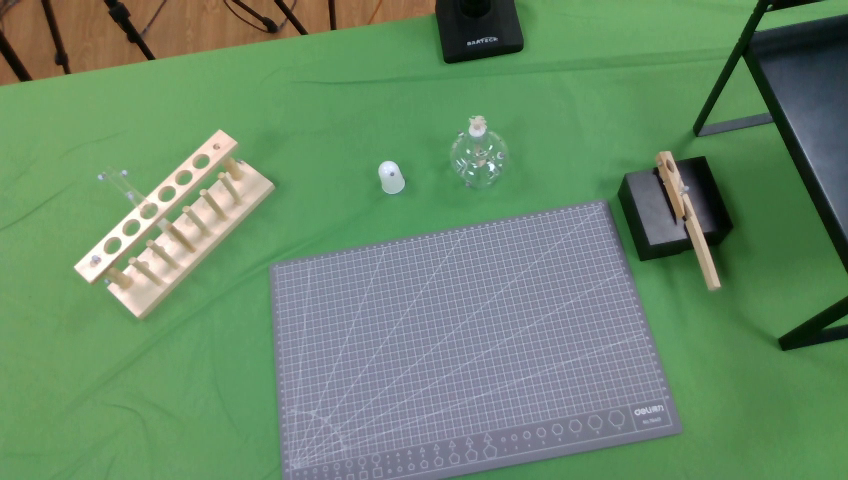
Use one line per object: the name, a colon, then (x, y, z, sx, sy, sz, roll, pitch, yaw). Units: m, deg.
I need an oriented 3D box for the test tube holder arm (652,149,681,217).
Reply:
test tube holder arm: (0.293, -0.069, 0.728, 0.010, 0.015, 0.087, -5, 67, -14)

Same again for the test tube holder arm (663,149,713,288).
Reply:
test tube holder arm: (0.306, -0.029, 0.712, 0.013, 0.015, 0.177, -4, 66, -14)

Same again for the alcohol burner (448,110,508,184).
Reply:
alcohol burner: (0.068, -0.123, 0.774, 0.078, 0.120, 0.077, -2, 65, 6)

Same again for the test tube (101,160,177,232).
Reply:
test tube: (-0.342, -0.049, 0.738, 0.017, 0.151, 0.017, -3, 62, 7)

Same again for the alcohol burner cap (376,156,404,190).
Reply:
alcohol burner cap: (-0.047, -0.093, 0.809, 0.034, 0.048, 0.033, -4, 63, 8)

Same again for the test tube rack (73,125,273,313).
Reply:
test tube rack: (-0.314, -0.027, 0.781, 0.066, 0.086, 0.242, 37, 75, 18)
